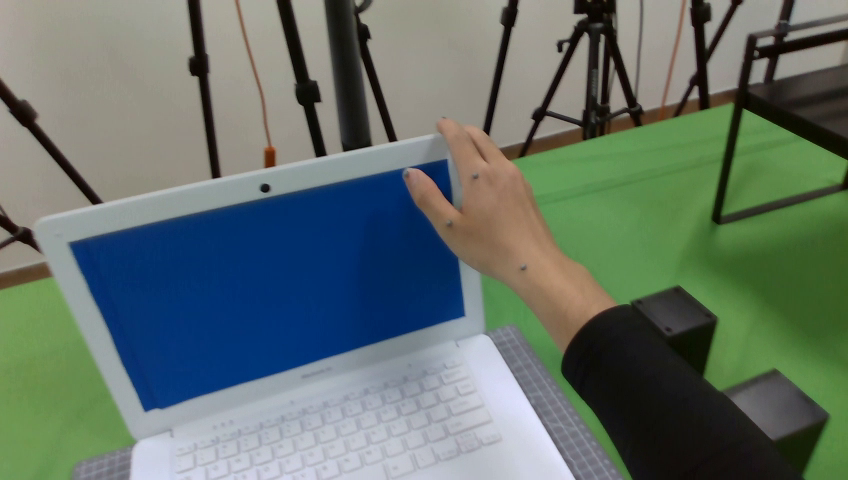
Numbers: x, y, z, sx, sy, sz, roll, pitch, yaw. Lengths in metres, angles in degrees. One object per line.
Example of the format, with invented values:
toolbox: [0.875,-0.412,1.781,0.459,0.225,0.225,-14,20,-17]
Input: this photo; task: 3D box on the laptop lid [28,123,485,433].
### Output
laptop lid: [-0.118,0.041,0.545,0.357,0.244,0.013,-16,32,-10]

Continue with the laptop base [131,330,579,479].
laptop base: [-0.064,0.205,0.511,0.355,0.023,0.233,-16,39,-12]
